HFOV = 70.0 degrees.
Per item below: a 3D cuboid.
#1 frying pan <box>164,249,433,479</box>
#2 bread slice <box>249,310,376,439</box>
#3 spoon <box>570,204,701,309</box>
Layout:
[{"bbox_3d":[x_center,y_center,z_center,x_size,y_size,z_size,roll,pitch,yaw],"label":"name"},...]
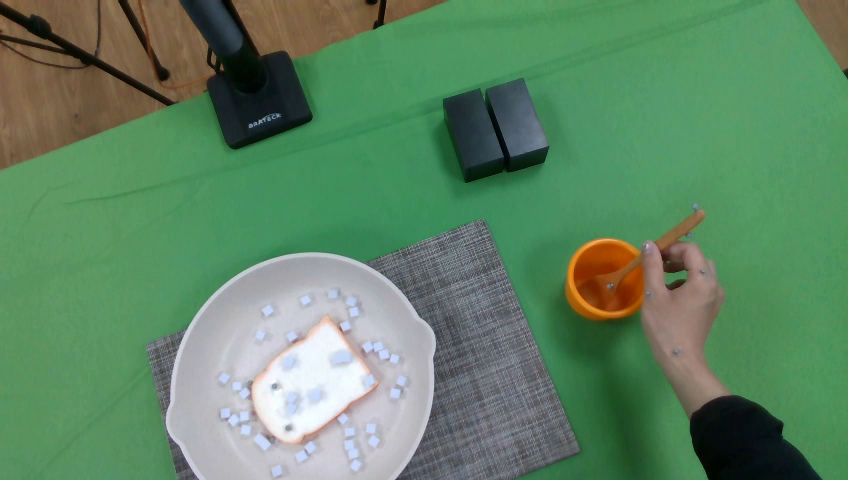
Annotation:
[{"bbox_3d":[-0.105,0.247,0.653,0.307,0.103,0.483,-18,66,-1],"label":"frying pan"},{"bbox_3d":[-0.136,0.167,0.717,0.134,0.018,0.106,-41,77,-10],"label":"bread slice"},{"bbox_3d":[0.228,0.021,0.667,0.022,0.194,0.041,-14,65,-37],"label":"spoon"}]
